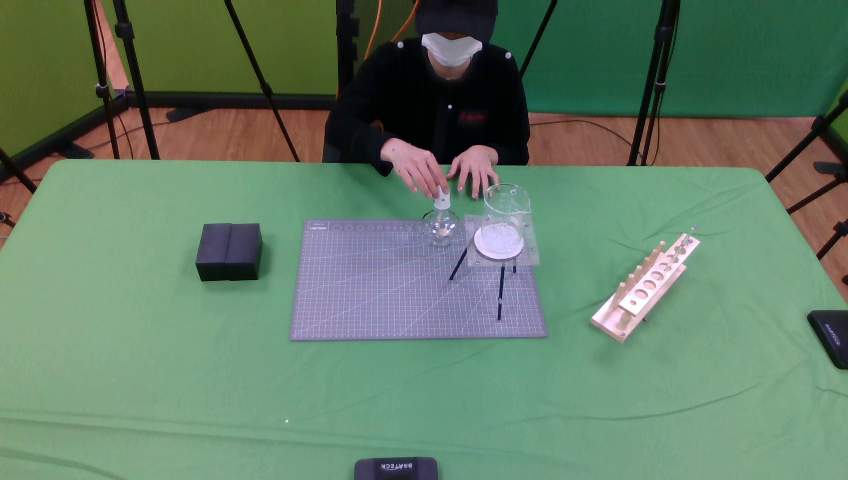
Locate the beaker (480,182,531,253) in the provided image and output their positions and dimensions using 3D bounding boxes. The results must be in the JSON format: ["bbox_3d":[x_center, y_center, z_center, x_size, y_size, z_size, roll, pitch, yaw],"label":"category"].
[{"bbox_3d":[0.133,-0.033,0.998,0.083,0.101,0.074,26,51,22],"label":"beaker"}]

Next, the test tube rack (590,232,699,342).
[{"bbox_3d":[0.407,0.074,1.112,0.066,0.085,0.242,35,53,26],"label":"test tube rack"}]

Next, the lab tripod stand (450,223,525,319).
[{"bbox_3d":[0.120,0.046,1.080,0.148,0.132,0.147,1,47,-1],"label":"lab tripod stand"}]

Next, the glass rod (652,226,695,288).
[{"bbox_3d":[0.432,0.037,1.057,0.008,0.200,0.008,1,54,-1],"label":"glass rod"}]

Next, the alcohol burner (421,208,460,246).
[{"bbox_3d":[0.032,-0.046,1.176,0.078,0.120,0.077,2,44,-2],"label":"alcohol burner"}]

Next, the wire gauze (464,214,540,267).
[{"bbox_3d":[0.131,-0.001,1.035,0.121,0.011,0.124,1,44,-3],"label":"wire gauze"}]

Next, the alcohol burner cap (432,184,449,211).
[{"bbox_3d":[0.032,-0.083,1.139,0.034,0.048,0.033,1,41,-1],"label":"alcohol burner cap"}]
